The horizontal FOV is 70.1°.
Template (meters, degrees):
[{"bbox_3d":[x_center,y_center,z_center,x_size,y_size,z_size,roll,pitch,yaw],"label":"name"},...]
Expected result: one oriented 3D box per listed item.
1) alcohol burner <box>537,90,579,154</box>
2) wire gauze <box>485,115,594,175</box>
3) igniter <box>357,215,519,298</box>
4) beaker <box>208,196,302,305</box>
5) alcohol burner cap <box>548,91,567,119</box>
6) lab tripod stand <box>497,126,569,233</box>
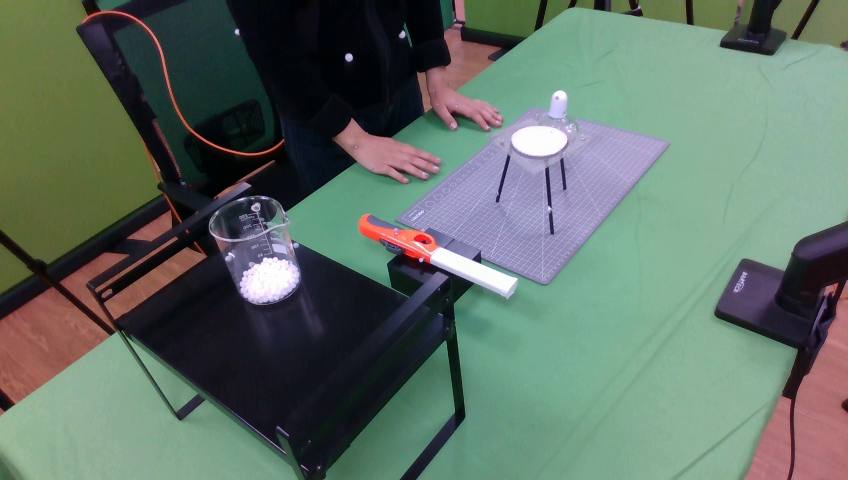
[{"bbox_3d":[0.248,-0.220,1.121,0.078,0.119,0.077,-5,39,5],"label":"alcohol burner"},{"bbox_3d":[0.177,-0.154,0.935,0.122,0.011,0.124,-27,45,-21],"label":"wire gauze"},{"bbox_3d":[0.010,0.018,0.876,0.274,0.025,0.057,23,46,28],"label":"igniter"},{"bbox_3d":[-0.173,0.014,0.647,0.084,0.101,0.073,-1,41,8],"label":"beaker"},{"bbox_3d":[0.245,-0.247,1.098,0.034,0.048,0.033,-1,45,1],"label":"alcohol burner cap"},{"bbox_3d":[0.188,-0.104,0.979,0.148,0.132,0.147,-3,41,3],"label":"lab tripod stand"}]
